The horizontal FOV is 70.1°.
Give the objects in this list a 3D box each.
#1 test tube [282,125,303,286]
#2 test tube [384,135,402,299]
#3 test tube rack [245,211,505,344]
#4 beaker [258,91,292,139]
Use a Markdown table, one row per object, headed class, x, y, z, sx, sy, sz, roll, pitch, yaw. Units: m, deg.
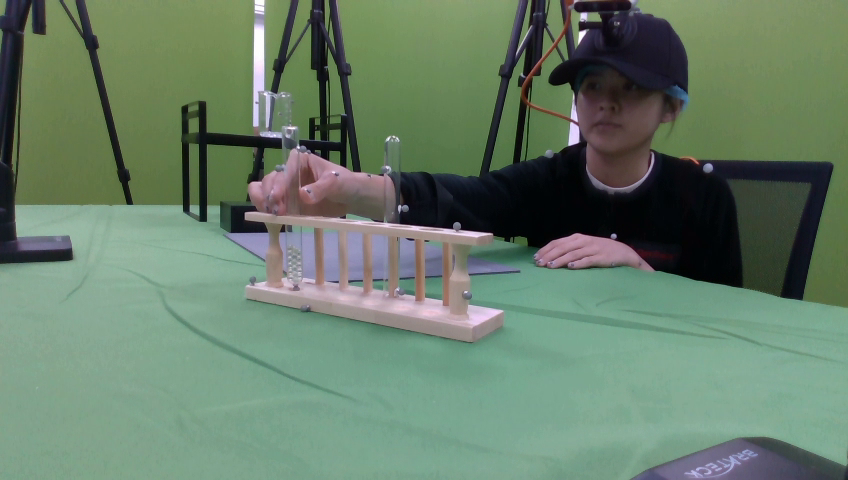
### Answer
| class | x | y | z | sx | sy | sz | roll | pitch | yaw |
| --- | --- | --- | --- | --- | --- | --- | --- | --- | --- |
| test tube | -0.121 | -0.030 | 0.558 | 0.017 | 0.150 | 0.017 | 1 | 12 | 0 |
| test tube | -0.028 | -0.019 | 0.550 | 0.017 | 0.150 | 0.017 | 1 | 9 | 0 |
| test tube rack | -0.049 | 0.025 | 0.547 | 0.241 | 0.085 | 0.067 | 7 | 8 | 28 |
| beaker | -0.331 | -0.276 | 1.343 | 0.074 | 0.100 | 0.083 | 0 | 8 | -20 |
